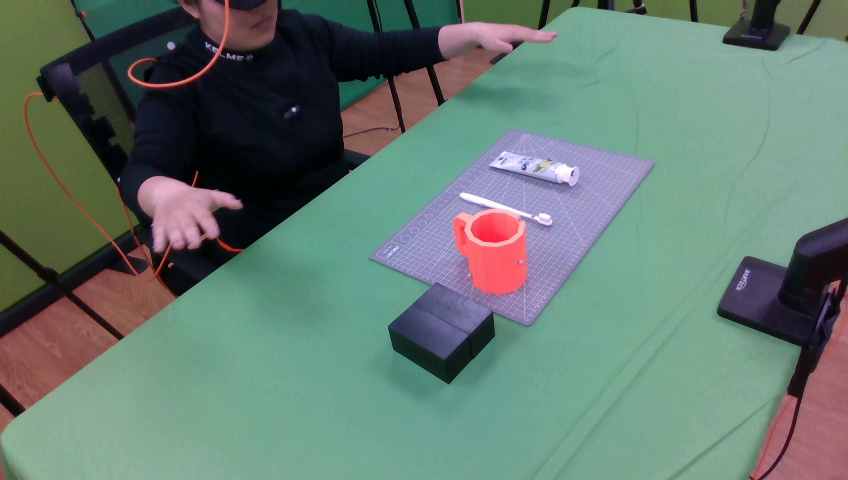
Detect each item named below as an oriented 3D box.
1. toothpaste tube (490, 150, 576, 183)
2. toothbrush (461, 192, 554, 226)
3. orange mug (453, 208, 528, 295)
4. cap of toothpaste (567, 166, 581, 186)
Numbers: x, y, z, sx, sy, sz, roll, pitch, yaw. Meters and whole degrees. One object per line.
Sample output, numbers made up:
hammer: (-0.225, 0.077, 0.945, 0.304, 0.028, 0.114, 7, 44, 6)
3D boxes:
toothpaste tube: (0.202, -0.135, 1.098, 0.164, 0.034, 0.055, 21, 45, 34)
toothbrush: (0.137, -0.056, 1.026, 0.180, 0.017, 0.014, 20, 62, 32)
orange mug: (0.094, 0.009, 0.894, 0.125, 0.101, 0.084, 32, 55, 33)
cap of toothpaste: (0.260, -0.112, 1.052, 0.011, 0.037, 0.037, 22, 50, 37)
